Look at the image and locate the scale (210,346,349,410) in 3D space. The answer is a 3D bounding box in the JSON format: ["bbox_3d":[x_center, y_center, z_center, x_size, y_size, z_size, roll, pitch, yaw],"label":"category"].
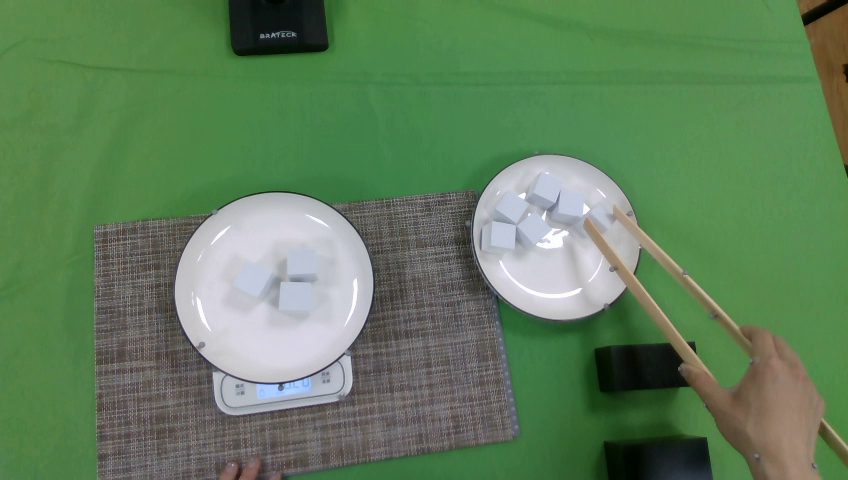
[{"bbox_3d":[-0.166,0.082,0.681,0.149,0.031,0.200,-5,78,-8],"label":"scale"}]

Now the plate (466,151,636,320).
[{"bbox_3d":[0.151,-0.004,0.737,0.208,0.039,0.206,2,77,-6],"label":"plate"}]

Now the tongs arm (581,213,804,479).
[{"bbox_3d":[0.277,0.112,0.619,0.028,0.028,0.383,-24,57,-13],"label":"tongs arm"}]

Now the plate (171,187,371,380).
[{"bbox_3d":[-0.161,0.045,0.656,0.209,0.038,0.208,2,77,-6],"label":"plate"}]

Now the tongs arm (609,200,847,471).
[{"bbox_3d":[0.300,0.101,0.623,0.051,0.027,0.380,-29,58,-12],"label":"tongs arm"}]
